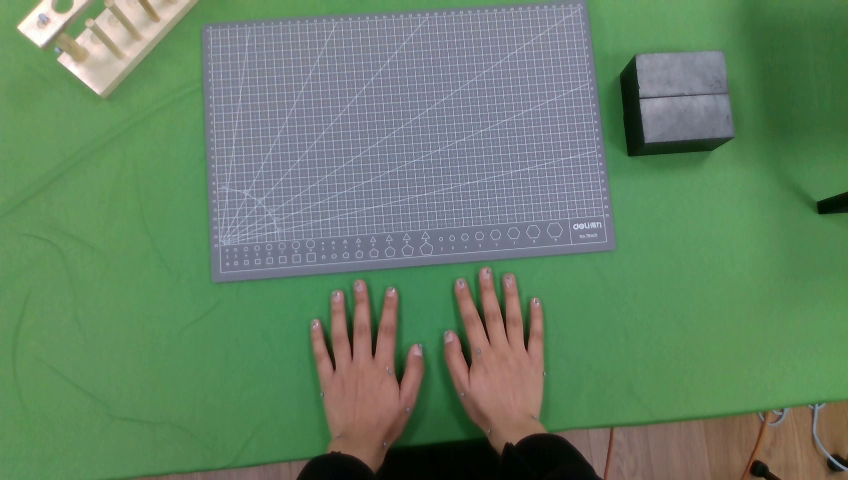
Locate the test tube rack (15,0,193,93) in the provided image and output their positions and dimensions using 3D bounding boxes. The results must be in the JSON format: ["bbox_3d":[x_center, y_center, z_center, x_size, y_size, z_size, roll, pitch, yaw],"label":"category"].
[{"bbox_3d":[-0.309,-0.284,0.660,0.066,0.085,0.242,40,83,4],"label":"test tube rack"}]
